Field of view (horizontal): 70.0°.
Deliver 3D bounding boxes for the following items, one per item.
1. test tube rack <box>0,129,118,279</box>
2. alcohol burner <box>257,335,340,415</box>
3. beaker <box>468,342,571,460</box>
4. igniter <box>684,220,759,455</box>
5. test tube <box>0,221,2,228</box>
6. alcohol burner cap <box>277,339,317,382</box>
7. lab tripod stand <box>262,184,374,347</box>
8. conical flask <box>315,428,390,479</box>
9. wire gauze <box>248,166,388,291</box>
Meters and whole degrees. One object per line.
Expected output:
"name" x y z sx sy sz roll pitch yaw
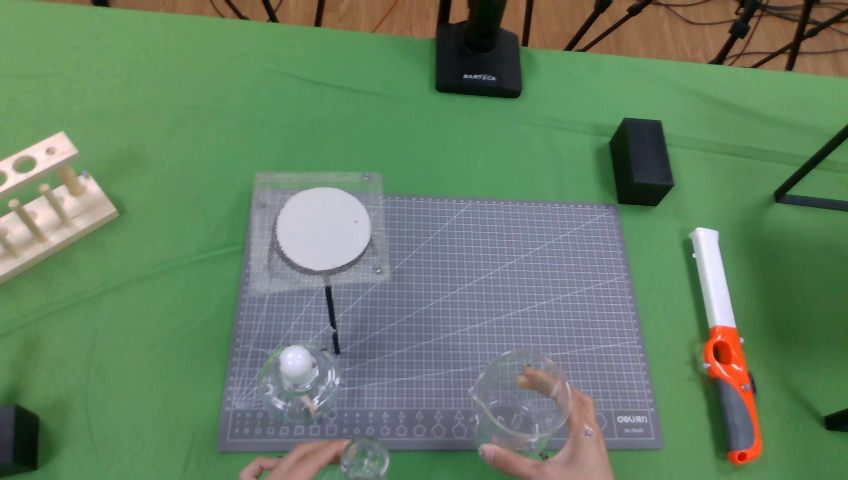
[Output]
"test tube rack" -0.452 -0.007 0.611 0.242 0.086 0.066 -37 72 -23
"alcohol burner" -0.117 0.121 0.567 0.078 0.120 0.077 4 61 -7
"beaker" 0.076 0.143 0.525 0.084 0.101 0.073 1 55 -2
"igniter" 0.334 0.101 0.687 0.057 0.025 0.274 9 62 -14
"test tube" -0.445 -0.054 0.580 0.017 0.151 0.017 4 57 -6
"alcohol burner cap" -0.114 0.105 0.535 0.034 0.048 0.033 1 66 -2
"lab tripod stand" -0.102 0.019 0.611 0.149 0.132 0.147 4 62 -7
"conical flask" -0.056 0.201 0.513 0.075 0.123 0.074 7 49 -8
"wire gauze" -0.098 -0.016 0.554 0.122 0.011 0.124 -3 64 -9
